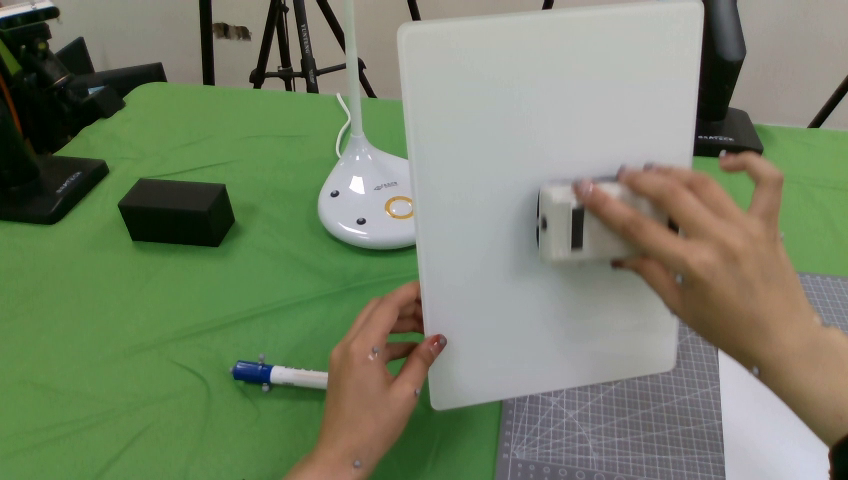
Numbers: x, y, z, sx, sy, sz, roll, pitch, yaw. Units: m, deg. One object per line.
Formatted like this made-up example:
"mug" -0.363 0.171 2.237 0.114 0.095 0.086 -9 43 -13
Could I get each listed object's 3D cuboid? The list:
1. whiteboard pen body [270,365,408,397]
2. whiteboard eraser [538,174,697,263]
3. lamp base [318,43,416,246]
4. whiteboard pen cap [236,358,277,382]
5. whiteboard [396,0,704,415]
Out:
"whiteboard pen body" -0.083 0.119 0.516 0.141 0.017 0.017 6 40 3
"whiteboard eraser" 0.140 -0.017 0.444 0.113 0.056 0.041 -5 13 -8
"lamp base" -0.052 -0.111 0.665 0.161 0.182 0.177 -27 44 -27
"whiteboard pen cap" -0.142 0.112 0.520 0.033 0.018 0.018 8 40 1
"whiteboard" 0.091 -0.036 0.519 0.217 0.307 0.142 -8 21 -6
